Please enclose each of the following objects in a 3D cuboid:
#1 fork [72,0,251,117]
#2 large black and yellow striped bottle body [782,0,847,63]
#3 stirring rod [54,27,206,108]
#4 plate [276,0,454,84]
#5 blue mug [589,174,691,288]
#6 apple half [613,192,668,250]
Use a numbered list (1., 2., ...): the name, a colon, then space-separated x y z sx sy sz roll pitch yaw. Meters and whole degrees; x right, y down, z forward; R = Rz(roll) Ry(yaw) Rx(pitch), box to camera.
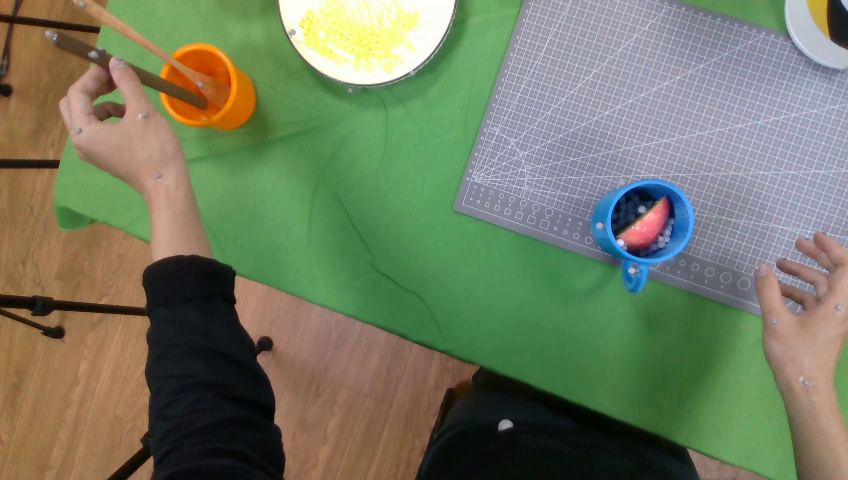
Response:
1. fork: -0.284 -0.202 0.670 0.209 0.018 0.028 33 96 -39
2. large black and yellow striped bottle body: 0.440 -0.253 0.563 0.130 0.184 0.130 0 90 7
3. stirring rod: -0.269 -0.159 0.575 0.006 0.177 0.014 -2 83 21
4. plate: -0.066 -0.282 0.697 0.209 0.038 0.209 0 93 7
5. blue mug: 0.222 -0.007 0.638 0.082 0.106 0.116 4 93 7
6. apple half: 0.229 -0.014 0.631 0.081 0.081 0.032 -40 79 7
